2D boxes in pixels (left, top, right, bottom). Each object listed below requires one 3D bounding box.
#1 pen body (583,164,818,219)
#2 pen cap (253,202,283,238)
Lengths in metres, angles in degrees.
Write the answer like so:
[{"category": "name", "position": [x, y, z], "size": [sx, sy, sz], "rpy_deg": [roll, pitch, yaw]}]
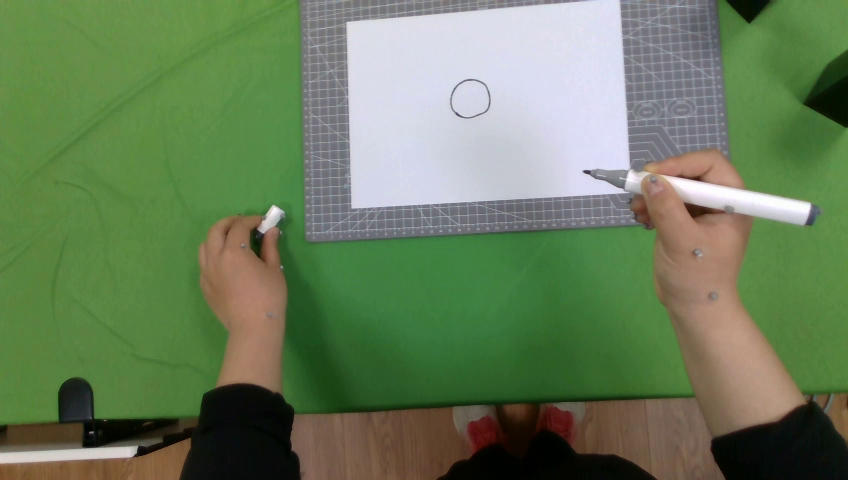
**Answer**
[{"category": "pen body", "position": [0.176, -0.035, 0.400], "size": [0.143, 0.017, 0.017], "rpy_deg": [14, 87, 22]}, {"category": "pen cap", "position": [-0.171, -0.021, 0.660], "size": [0.017, 0.017, 0.038], "rpy_deg": [34, 84, 8]}]
